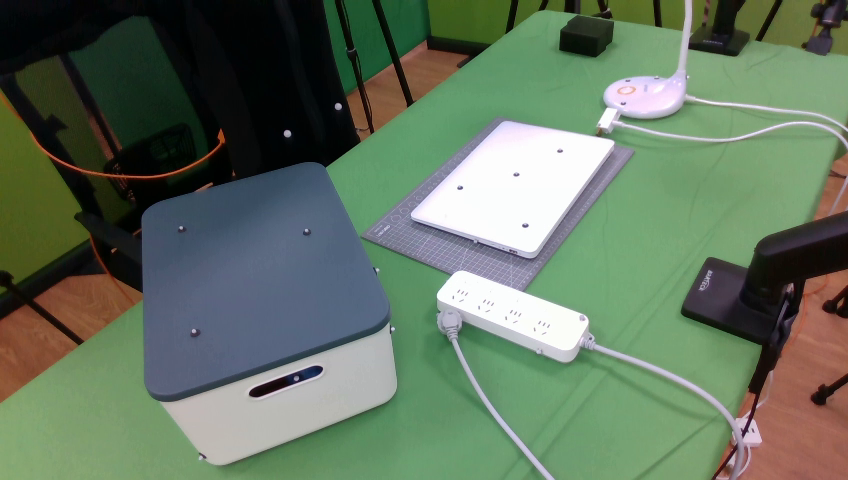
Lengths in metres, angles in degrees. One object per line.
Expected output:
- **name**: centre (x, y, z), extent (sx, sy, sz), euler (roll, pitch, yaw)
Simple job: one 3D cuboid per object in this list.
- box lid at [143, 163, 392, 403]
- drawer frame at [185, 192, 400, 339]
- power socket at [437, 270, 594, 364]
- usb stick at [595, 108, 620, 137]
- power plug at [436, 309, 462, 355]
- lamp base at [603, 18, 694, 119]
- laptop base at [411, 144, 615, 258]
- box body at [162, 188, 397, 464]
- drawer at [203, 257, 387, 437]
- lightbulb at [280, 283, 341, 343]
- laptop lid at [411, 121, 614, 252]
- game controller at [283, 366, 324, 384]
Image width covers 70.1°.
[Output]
- **box lid**: centre (-0.212, 0.025, 0.753), extent (0.264, 0.015, 0.368), euler (-18, 40, -13)
- **drawer frame**: centre (-0.174, 0.079, 0.769), extent (0.201, 0.214, 0.082), euler (-31, 18, 25)
- **power socket**: centre (0.118, 0.102, 0.830), extent (0.225, 0.033, 0.072), euler (20, 48, 28)
- **usb stick**: centre (0.355, -0.226, 1.175), extent (0.027, 0.022, 0.059), euler (29, 85, 41)
- **power plug**: centre (0.032, 0.126, 0.809), extent (0.035, 0.053, 0.072), euler (3, 59, 7)
- **lamp base**: centre (0.460, -0.355, 1.204), extent (0.179, 0.181, 0.160), euler (2, 41, 7)
- **laptop base**: centre (0.167, -0.102, 1.074), extent (0.234, 0.023, 0.355), euler (17, 45, 30)
- **box body**: centre (-0.205, 0.080, 0.802), extent (0.255, 0.161, 0.361), euler (-18, 41, -13)
- **drawer**: centre (-0.171, 0.127, 0.779), extent (0.195, 0.073, 0.210), euler (-16, 35, -15)
- **lightbulb**: centre (-0.152, 0.102, 0.826), extent (0.060, 0.060, 0.107), euler (-35, 61, -29)
- **laptop lid**: centre (0.164, -0.112, 1.068), extent (0.240, 0.013, 0.357), euler (19, 46, 30)
- **game controller**: centre (-0.158, 0.111, 0.733), extent (0.154, 0.052, 0.097), euler (29, 57, 35)
